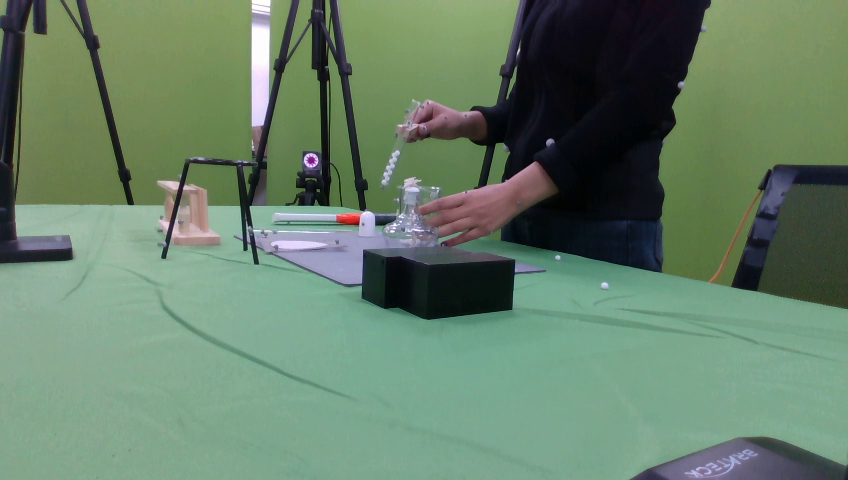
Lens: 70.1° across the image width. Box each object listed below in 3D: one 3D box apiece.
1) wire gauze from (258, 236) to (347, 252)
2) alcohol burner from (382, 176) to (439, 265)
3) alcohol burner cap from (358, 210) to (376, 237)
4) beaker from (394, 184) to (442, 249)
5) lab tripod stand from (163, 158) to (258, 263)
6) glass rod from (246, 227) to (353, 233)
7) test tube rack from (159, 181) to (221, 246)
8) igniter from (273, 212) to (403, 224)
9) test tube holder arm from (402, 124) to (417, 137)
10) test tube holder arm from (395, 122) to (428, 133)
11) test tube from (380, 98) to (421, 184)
[{"bbox_3d":[-0.189,0.005,0.931,0.122,0.011,0.124,1,7,-21],"label":"wire gauze"},{"bbox_3d":[-0.018,-0.027,0.818,0.078,0.119,0.078,3,10,0],"label":"alcohol burner"},{"bbox_3d":[-0.104,-0.030,1.098,0.034,0.048,0.034,2,7,0],"label":"alcohol burner cap"},{"bbox_3d":[-0.008,-0.038,0.964,0.074,0.100,0.083,-4,10,-38],"label":"beaker"},{"bbox_3d":[-0.265,-0.041,0.802,0.148,0.131,0.148,4,7,0],"label":"lab tripod stand"},{"bbox_3d":[-0.224,-0.017,1.109,0.201,0.008,0.008,1,7,-27],"label":"glass rod"},{"bbox_3d":[-0.395,-0.050,1.010,0.067,0.085,0.241,-2,8,-28],"label":"test tube rack"},{"bbox_3d":[-0.179,-0.048,1.290,0.278,0.025,0.057,-1,-2,-24],"label":"igniter"},{"bbox_3d":[-0.023,-0.184,1.011,0.010,0.015,0.088,28,18,-2],"label":"test tube holder arm"},{"bbox_3d":[-0.020,-0.197,1.054,0.013,0.015,0.178,30,18,5],"label":"test tube holder arm"},{"bbox_3d":[-0.039,-0.161,0.995,0.017,0.150,0.017,22,15,-6],"label":"test tube"}]
